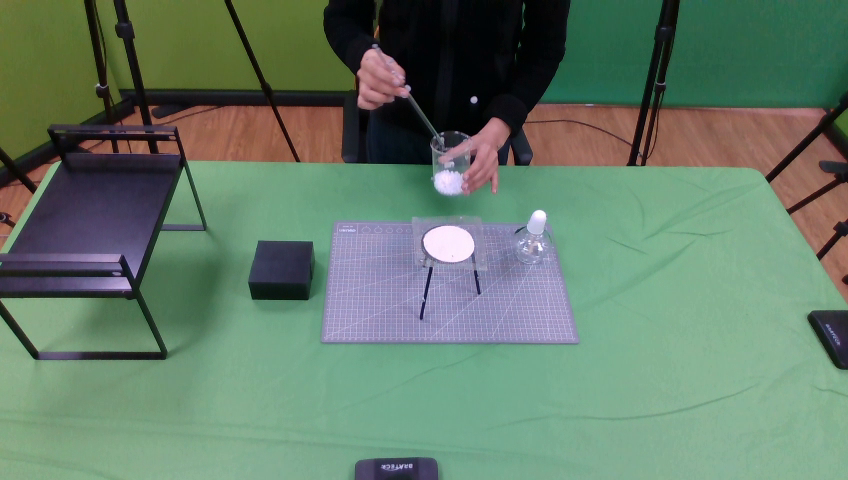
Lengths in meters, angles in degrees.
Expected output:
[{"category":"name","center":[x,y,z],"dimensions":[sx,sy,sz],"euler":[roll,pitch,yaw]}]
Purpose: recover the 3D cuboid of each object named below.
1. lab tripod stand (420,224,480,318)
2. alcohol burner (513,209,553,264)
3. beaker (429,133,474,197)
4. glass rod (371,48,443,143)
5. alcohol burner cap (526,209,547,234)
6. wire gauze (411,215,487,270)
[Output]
[{"category":"lab tripod stand","center":[0.034,0.051,1.070],"dimensions":[0.148,0.132,0.147],"euler":[3,48,-3]},{"category":"alcohol burner","center":[0.211,-0.012,1.158],"dimensions":[0.078,0.120,0.077],"euler":[1,44,-1]},{"category":"beaker","center":[0.052,-0.137,1.121],"dimensions":[0.084,0.101,0.073],"euler":[-15,44,-12]},{"category":"glass rod","center":[-0.025,-0.238,1.012],"dimensions":[0.008,0.201,0.008],"euler":[-30,29,19]},{"category":"alcohol burner cap","center":[0.213,-0.037,1.133],"dimensions":[0.034,0.048,0.033],"euler":[4,51,-5]},{"category":"wire gauze","center":[0.041,0.002,1.026],"dimensions":[0.125,0.011,0.120],"euler":[1,46,-3]}]
